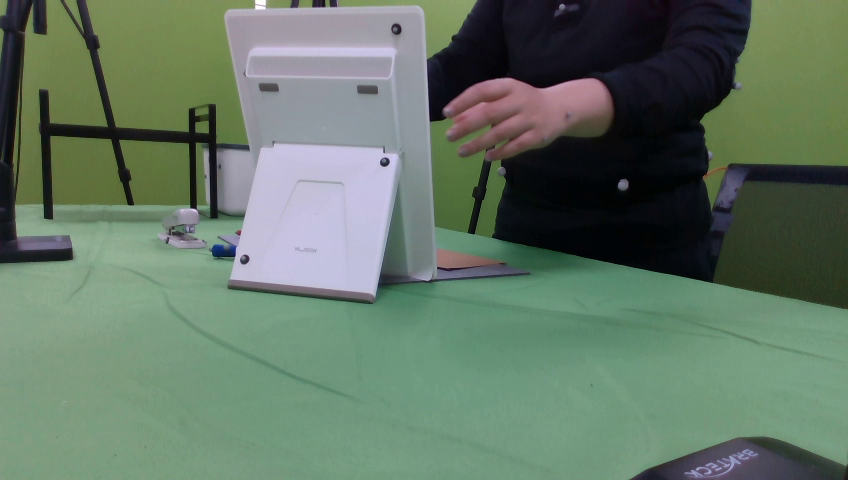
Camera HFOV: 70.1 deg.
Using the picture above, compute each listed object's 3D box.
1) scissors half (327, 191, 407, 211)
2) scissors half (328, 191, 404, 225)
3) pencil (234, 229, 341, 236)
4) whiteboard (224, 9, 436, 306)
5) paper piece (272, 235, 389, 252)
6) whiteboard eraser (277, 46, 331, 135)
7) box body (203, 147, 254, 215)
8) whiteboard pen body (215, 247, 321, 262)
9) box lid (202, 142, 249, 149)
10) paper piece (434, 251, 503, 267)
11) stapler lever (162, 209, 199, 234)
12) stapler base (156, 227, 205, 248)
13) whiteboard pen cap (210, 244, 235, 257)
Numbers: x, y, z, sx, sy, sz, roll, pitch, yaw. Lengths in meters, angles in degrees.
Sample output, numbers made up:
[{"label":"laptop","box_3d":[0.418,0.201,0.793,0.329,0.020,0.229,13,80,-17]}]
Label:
[{"label":"scissors half","box_3d":[-0.123,-0.092,1.316,0.175,0.040,0.013,6,14,-3]},{"label":"scissors half","box_3d":[-0.128,-0.073,1.320,0.175,0.040,0.013,22,7,-6]},{"label":"pencil","box_3d":[-0.232,-0.012,1.053,0.195,0.012,0.012,0,8,-36]},{"label":"whiteboard","box_3d":[-0.117,-0.065,0.617,0.217,0.305,0.144,5,29,16]},{"label":"paper piece","box_3d":[-0.151,0.003,0.978,0.135,0.008,0.139,13,10,35]},{"label":"whiteboard eraser","box_3d":[-0.156,-0.192,0.788,0.055,0.113,0.042,10,39,14]},{"label":"box body","box_3d":[-0.347,-0.152,1.519,0.366,0.160,0.253,-2,9,-31]},{"label":"whiteboard pen body","box_3d":[-0.208,0.018,0.805,0.141,0.017,0.017,3,7,2]},{"label":"box lid","box_3d":[-0.345,-0.225,1.509,0.373,0.015,0.262,-2,8,-31]},{"label":"paper piece","box_3d":[0.025,0.026,0.865,0.134,0.004,0.136,7,7,43]},{"label":"stapler lever","box_3d":[-0.377,-0.032,0.933,0.027,0.040,0.117,0,7,-38]},{"label":"stapler base","box_3d":[-0.376,-0.008,0.935,0.041,0.024,0.130,0,6,-38]},{"label":"whiteboard pen cap","box_3d":[-0.266,0.014,0.806,0.033,0.018,0.018,2,7,-1]}]
